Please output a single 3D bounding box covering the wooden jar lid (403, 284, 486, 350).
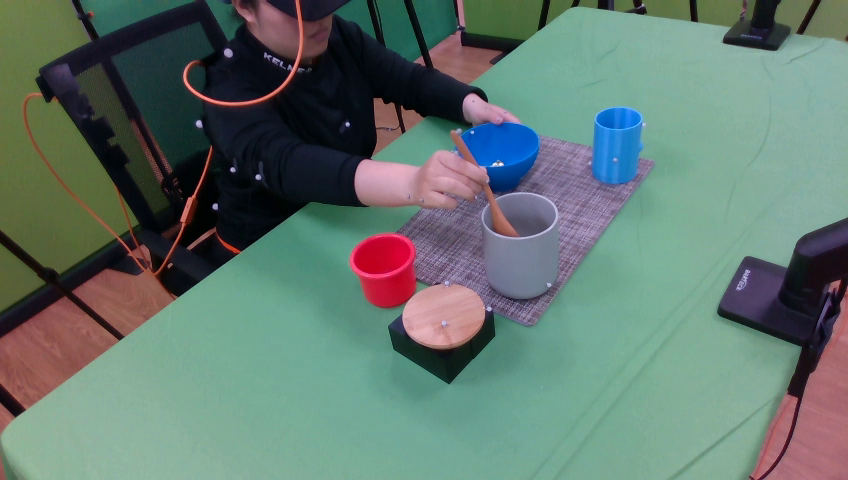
[{"bbox_3d":[0.027,0.101,0.786,0.108,0.021,0.108,-5,39,4],"label":"wooden jar lid"}]

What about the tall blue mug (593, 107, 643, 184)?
[{"bbox_3d":[0.330,-0.172,1.052,0.078,0.108,0.106,-12,40,0],"label":"tall blue mug"}]

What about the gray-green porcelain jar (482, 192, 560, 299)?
[{"bbox_3d":[0.139,0.012,0.858,0.106,0.127,0.105,-6,40,5],"label":"gray-green porcelain jar"}]

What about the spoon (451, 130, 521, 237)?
[{"bbox_3d":[0.083,-0.063,0.798,0.022,0.194,0.041,-43,26,-29],"label":"spoon"}]

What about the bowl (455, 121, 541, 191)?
[{"bbox_3d":[0.133,-0.141,1.078,0.151,0.077,0.150,-6,40,5],"label":"bowl"}]
